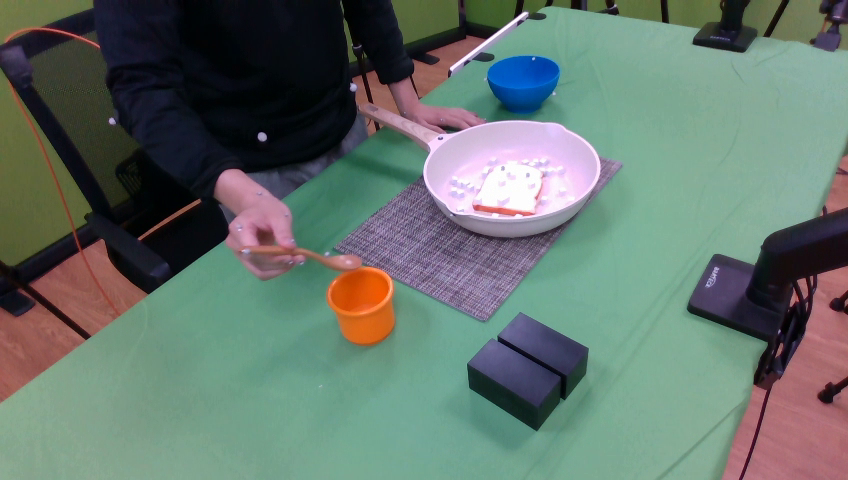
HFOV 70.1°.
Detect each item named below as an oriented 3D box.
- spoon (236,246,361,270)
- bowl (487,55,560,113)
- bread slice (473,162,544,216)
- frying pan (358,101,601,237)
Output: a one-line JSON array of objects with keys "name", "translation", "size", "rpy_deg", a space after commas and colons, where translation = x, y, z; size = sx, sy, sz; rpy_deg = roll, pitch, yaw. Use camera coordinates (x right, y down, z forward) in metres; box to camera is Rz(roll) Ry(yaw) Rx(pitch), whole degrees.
[{"name": "spoon", "translation": [-0.145, 0.018, 0.723], "size": [0.041, 0.021, 0.195], "rpy_deg": [23, 4, 34]}, {"name": "bowl", "translation": [0.208, -0.319, 1.266], "size": [0.151, 0.077, 0.150], "rpy_deg": [-4, 41, 4]}, {"name": "bread slice", "translation": [0.150, -0.088, 1.042], "size": [0.106, 0.018, 0.134], "rpy_deg": [7, 45, 16]}, {"name": "frying pan", "translation": [0.067, -0.153, 1.067], "size": [0.484, 0.103, 0.308], "rpy_deg": [32, 52, 26]}]
